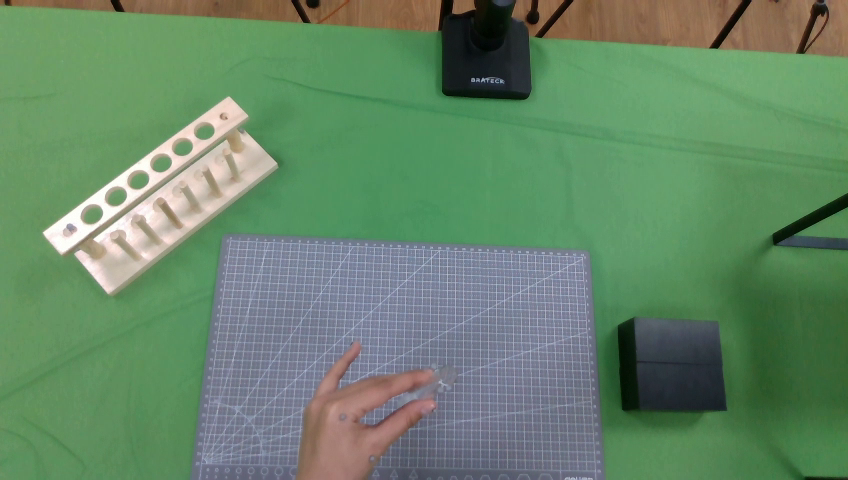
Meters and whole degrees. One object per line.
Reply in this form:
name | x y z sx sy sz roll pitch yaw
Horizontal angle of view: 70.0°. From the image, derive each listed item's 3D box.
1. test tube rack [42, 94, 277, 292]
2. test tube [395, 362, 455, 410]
test tube rack | -0.289 -0.053 0.691 0.242 0.085 0.066 -42 80 -16
test tube | -0.003 0.128 0.521 0.017 0.151 0.017 6 65 -14
